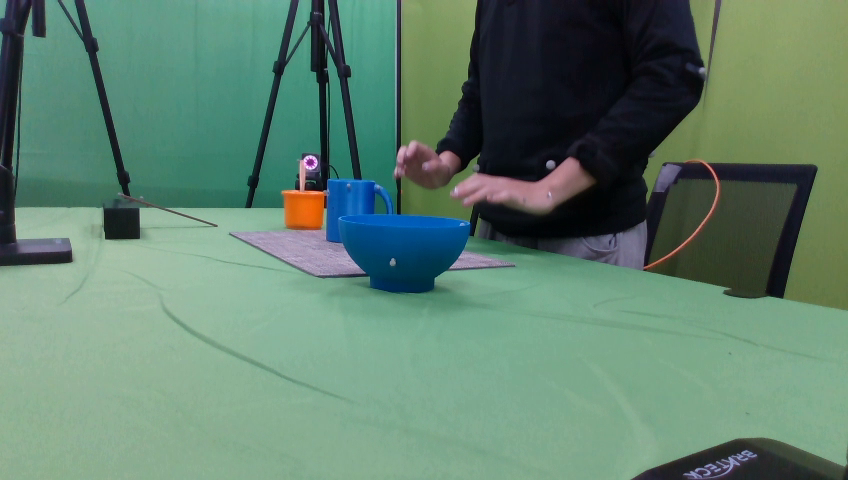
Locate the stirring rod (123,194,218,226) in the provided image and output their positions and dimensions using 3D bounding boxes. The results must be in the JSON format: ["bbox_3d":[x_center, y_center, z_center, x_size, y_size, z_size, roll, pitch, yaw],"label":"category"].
[{"bbox_3d":[-0.480,-0.056,1.153,0.177,0.006,0.014,20,-5,-29],"label":"stirring rod"}]

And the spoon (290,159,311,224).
[{"bbox_3d":[-0.256,-0.104,1.265,0.042,0.193,0.021,1,-37,-10],"label":"spoon"}]

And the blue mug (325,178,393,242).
[{"bbox_3d":[-0.111,-0.052,1.034,0.116,0.106,0.082,3,7,7],"label":"blue mug"}]

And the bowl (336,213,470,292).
[{"bbox_3d":[-0.025,0.013,0.685,0.151,0.077,0.151,2,7,0],"label":"bowl"}]
